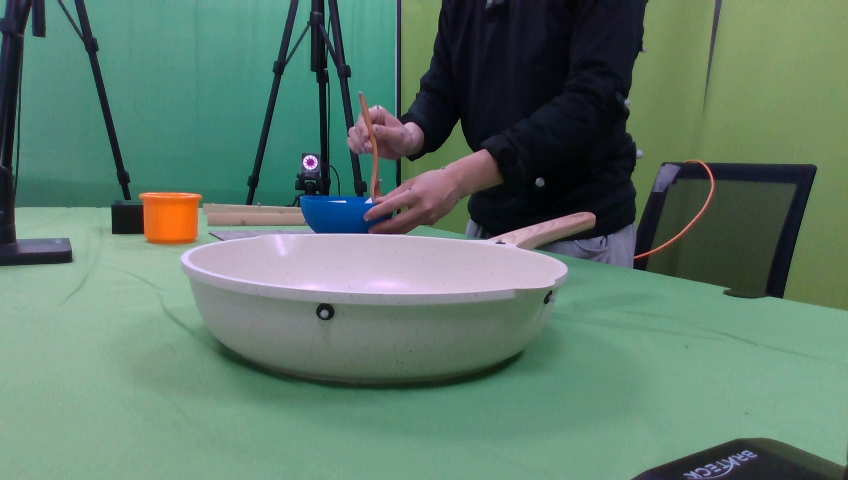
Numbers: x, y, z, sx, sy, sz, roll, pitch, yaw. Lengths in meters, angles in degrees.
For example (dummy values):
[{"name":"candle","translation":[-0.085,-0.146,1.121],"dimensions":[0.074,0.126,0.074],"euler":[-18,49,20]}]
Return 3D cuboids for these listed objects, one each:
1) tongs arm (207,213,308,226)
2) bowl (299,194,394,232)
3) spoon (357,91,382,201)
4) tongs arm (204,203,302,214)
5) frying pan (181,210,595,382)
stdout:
[{"name":"tongs arm","translation":[-0.264,-0.046,1.297],"dimensions":[0.390,0.028,0.028],"euler":[-2,7,-32]},{"name":"bowl","translation":[-0.123,-0.029,0.958],"dimensions":[0.151,0.077,0.151],"euler":[3,7,0]},{"name":"spoon","translation":[-0.081,-0.134,0.940],"dimensions":[0.021,0.193,0.042],"euler":[-4,8,15]},{"name":"tongs arm","translation":[-0.295,-0.062,1.370],"dimensions":[0.386,0.026,0.050],"euler":[1,9,-19]},{"name":"frying pan","translation":[0.034,0.019,0.557],"dimensions":[0.305,0.102,0.490],"euler":[10,19,42]}]
